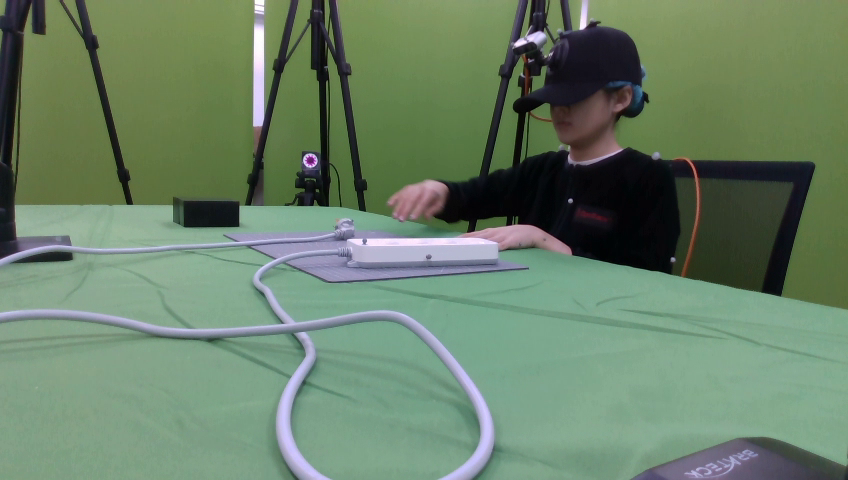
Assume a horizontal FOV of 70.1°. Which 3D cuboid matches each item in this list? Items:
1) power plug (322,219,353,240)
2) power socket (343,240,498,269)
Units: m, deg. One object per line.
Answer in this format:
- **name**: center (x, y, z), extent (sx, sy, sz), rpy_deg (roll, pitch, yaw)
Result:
- **power plug**: center (-0.153, -0.022, 1.042), extent (0.052, 0.035, 0.073), rpy_deg (31, 12, 39)
- **power socket**: center (-0.002, 0.018, 0.829), extent (0.228, 0.032, 0.072), rpy_deg (0, 7, -24)
